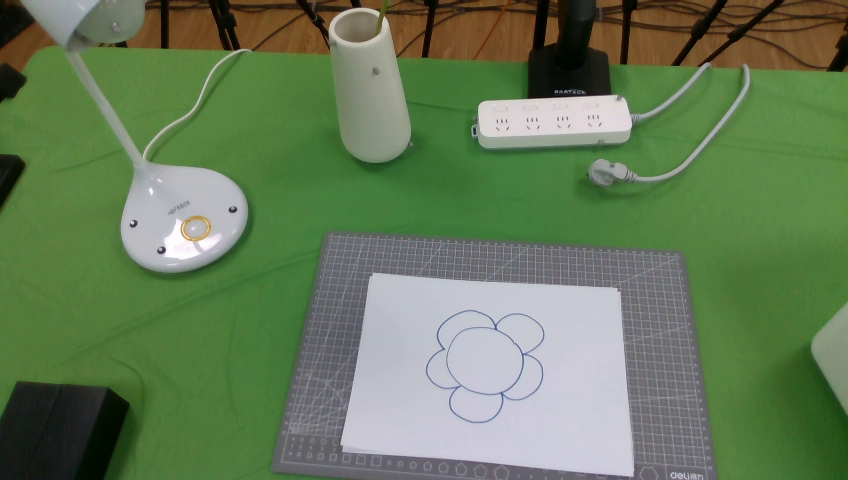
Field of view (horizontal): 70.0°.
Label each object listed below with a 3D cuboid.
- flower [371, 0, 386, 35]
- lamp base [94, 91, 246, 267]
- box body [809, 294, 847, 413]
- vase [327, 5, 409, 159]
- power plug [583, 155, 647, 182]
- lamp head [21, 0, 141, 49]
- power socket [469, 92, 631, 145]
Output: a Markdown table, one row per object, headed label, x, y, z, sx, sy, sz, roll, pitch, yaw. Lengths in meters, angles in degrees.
| label | x | y | z | sx | sy | sz | roll | pitch | yaw |
| --- | --- | --- | --- | --- | --- | --- | --- | --- | --- |
| flower | -0.059 | -0.233 | 0.704 | 0.044 | 0.363 | 0.038 | -34 | 79 | -27 |
| lamp base | -0.325 | -0.082 | 0.728 | 0.178 | 0.182 | 0.160 | 33 | 64 | 24 |
| box body | 0.567 | 0.180 | 0.535 | 0.254 | 0.162 | 0.360 | -12 | 58 | -5 |
| vase | -0.074 | -0.197 | 0.779 | 0.098 | 0.202 | 0.097 | -2 | 57 | 3 |
| power plug | 0.244 | -0.083 | 0.792 | 0.073 | 0.052 | 0.035 | 37 | 75 | -9 |
| lamp head | -0.289 | -0.231 | 0.477 | 0.123 | 0.112 | 0.112 | 44 | 63 | -16 |
| power socket | 0.177 | -0.171 | 0.851 | 0.227 | 0.033 | 0.071 | -1 | 58 | 1 |
